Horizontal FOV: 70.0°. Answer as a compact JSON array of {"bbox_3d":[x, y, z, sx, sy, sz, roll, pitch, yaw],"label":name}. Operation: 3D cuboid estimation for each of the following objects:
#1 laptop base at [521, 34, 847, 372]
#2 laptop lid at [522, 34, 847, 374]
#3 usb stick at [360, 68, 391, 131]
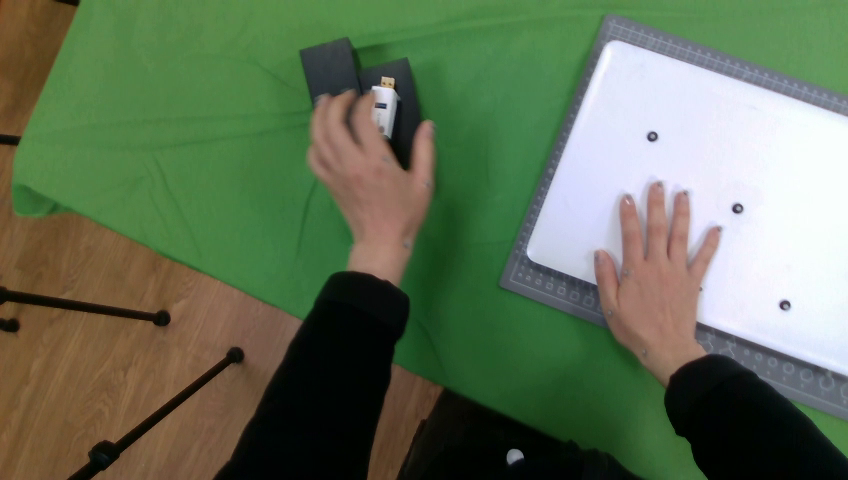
[{"bbox_3d":[0.300,-0.038,0.601,0.354,0.023,0.235,20,95,4],"label":"laptop base"},{"bbox_3d":[0.298,-0.036,0.589,0.356,0.013,0.242,22,94,4],"label":"laptop lid"},{"bbox_3d":[-0.044,-0.135,0.573,0.021,0.027,0.059,9,88,5],"label":"usb stick"}]
